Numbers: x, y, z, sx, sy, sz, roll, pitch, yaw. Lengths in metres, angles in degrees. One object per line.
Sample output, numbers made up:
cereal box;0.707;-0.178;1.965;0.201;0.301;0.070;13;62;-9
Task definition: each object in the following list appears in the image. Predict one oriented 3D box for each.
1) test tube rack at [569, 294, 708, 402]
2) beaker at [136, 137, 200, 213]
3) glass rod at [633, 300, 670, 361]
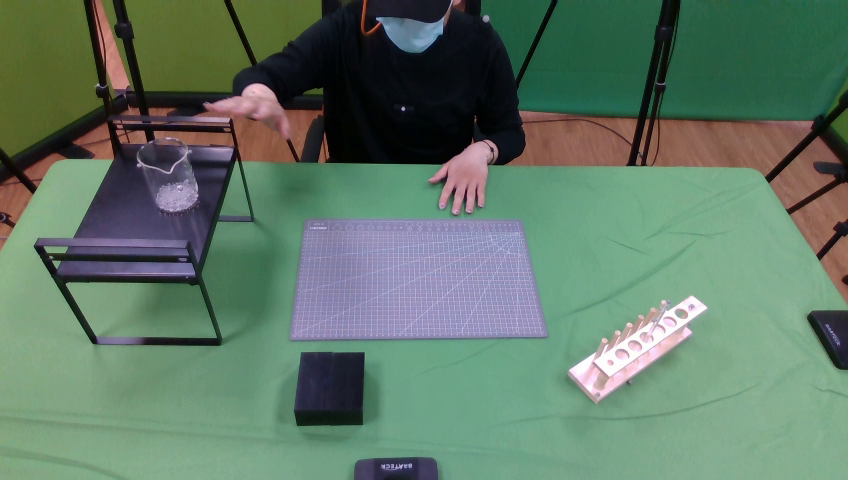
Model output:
test tube rack;0.360;0.167;1.014;0.242;0.085;0.066;-25;53;-25
beaker;-0.399;-0.098;0.957;0.074;0.101;0.083;-19;51;-20
glass rod;0.351;0.144;0.944;0.008;0.201;0.008;-1;55;1
